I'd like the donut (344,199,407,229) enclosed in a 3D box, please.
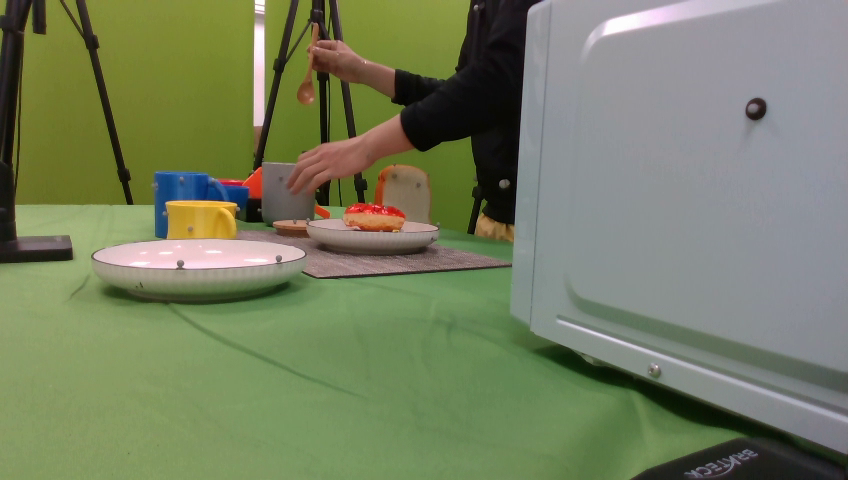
[{"bbox_3d":[-0.076,-0.039,0.949,0.099,0.048,0.099,3,4,0],"label":"donut"}]

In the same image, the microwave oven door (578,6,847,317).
[{"bbox_3d":[0.294,-0.067,0.570,0.358,0.243,0.039,-3,9,-31],"label":"microwave oven door"}]

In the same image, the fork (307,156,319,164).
[{"bbox_3d":[-0.331,-0.144,1.505,0.207,0.018,0.028,-42,-20,22],"label":"fork"}]

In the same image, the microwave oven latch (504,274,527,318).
[{"bbox_3d":[0.100,0.041,0.471,0.079,0.029,0.030,-1,8,-28],"label":"microwave oven latch"}]

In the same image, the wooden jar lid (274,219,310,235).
[{"bbox_3d":[-0.213,-0.023,1.080,0.108,0.020,0.108,3,7,0],"label":"wooden jar lid"}]

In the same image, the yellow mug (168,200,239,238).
[{"bbox_3d":[-0.320,-0.023,0.904,0.130,0.064,0.100,9,11,36],"label":"yellow mug"}]

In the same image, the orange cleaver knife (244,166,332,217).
[{"bbox_3d":[-0.301,-0.089,1.351,0.212,0.077,0.012,32,-11,-34],"label":"orange cleaver knife"}]

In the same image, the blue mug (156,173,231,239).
[{"bbox_3d":[-0.381,-0.057,1.004,0.117,0.106,0.082,0,8,-12],"label":"blue mug"}]

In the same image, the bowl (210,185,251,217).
[{"bbox_3d":[-0.408,-0.064,1.155,0.151,0.077,0.151,2,8,0],"label":"bowl"}]

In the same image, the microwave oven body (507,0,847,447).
[{"bbox_3d":[0.331,-0.042,0.425,0.444,0.260,0.324,-2,8,-31],"label":"microwave oven body"}]

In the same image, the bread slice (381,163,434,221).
[{"bbox_3d":[-0.034,-0.076,1.123,0.107,0.134,0.018,-3,-1,-26],"label":"bread slice"}]

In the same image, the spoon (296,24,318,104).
[{"bbox_3d":[-0.259,-0.403,1.380,0.042,0.193,0.021,9,-4,-10],"label":"spoon"}]

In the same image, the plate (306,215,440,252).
[{"bbox_3d":[-0.079,-0.011,0.950,0.209,0.038,0.209,2,8,0],"label":"plate"}]

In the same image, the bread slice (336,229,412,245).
[{"bbox_3d":[-0.074,-0.005,0.938,0.105,0.019,0.131,-2,4,-19],"label":"bread slice"}]

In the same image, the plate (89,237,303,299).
[{"bbox_3d":[-0.233,0.029,0.637,0.208,0.039,0.207,2,7,0],"label":"plate"}]

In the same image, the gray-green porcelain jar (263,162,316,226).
[{"bbox_3d":[-0.271,-0.092,1.217,0.106,0.126,0.106,2,7,0],"label":"gray-green porcelain jar"}]
